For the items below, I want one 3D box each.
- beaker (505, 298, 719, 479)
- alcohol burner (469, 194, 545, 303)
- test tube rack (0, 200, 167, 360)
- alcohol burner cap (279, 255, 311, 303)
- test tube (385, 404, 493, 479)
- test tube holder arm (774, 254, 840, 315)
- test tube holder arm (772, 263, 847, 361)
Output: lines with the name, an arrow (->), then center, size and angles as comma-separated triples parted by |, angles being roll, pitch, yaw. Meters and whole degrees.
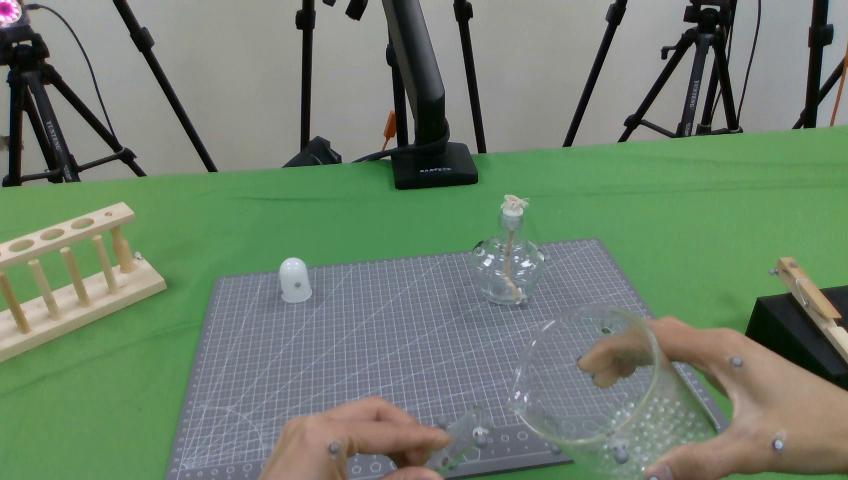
beaker -> 0.101, 0.090, 0.316 | 0.084, 0.101, 0.073 | -28, 37, 24
alcohol burner -> 0.086, 0.005, 0.617 | 0.078, 0.120, 0.077 | 1, 34, 0
test tube rack -> -0.395, 0.050, 0.599 | 0.242, 0.086, 0.066 | -27, 42, -34
alcohol burner cap -> -0.139, 0.039, 0.640 | 0.034, 0.048, 0.033 | -1, 33, 1
test tube -> -0.017, 0.140, 0.337 | 0.017, 0.150, 0.017 | 37, 21, -17
test tube holder arm -> 0.343, 0.041, 0.545 | 0.015, 0.010, 0.087 | 0, 34, 1
test tube holder arm -> 0.342, 0.071, 0.511 | 0.015, 0.013, 0.177 | 0, 33, 1
